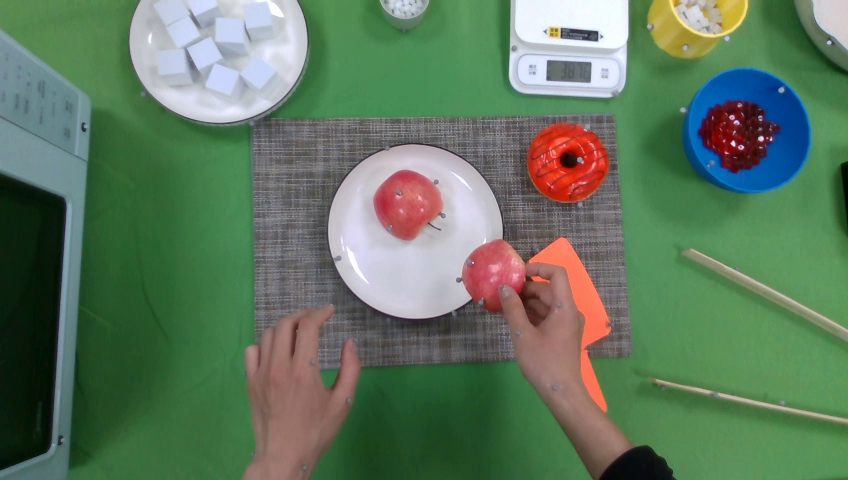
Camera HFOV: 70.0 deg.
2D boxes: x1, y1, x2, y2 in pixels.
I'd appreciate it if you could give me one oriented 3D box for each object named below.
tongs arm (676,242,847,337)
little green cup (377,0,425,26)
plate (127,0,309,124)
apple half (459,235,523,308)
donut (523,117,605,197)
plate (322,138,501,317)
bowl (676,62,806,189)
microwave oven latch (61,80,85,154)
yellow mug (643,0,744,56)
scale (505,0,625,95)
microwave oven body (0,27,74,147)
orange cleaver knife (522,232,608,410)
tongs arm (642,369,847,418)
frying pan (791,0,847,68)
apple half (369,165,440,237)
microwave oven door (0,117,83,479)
[{"bbox_3d":[0.483,0.101,0.748,0.388,0.028,0.028,29,75,-1],"label":"tongs arm"},{"bbox_3d":[-0.029,-0.296,0.747,0.061,0.038,0.061,0,84,-4],"label":"little green cup"},{"bbox_3d":[-0.241,-0.236,0.725,0.208,0.039,0.207,1,84,-4],"label":"plate"},{"bbox_3d":[0.065,0.032,0.646,0.033,0.081,0.081,-4,82,-47],"label":"apple half"},{"bbox_3d":[0.168,-0.101,0.735,0.099,0.048,0.099,0,85,-2],"label":"donut"},{"bbox_3d":[-0.014,-0.014,0.715,0.209,0.038,0.208,0,84,-4],"label":"plate"},{"bbox_3d":[0.370,-0.130,0.740,0.151,0.077,0.151,0,85,-4],"label":"bowl"},{"bbox_3d":[-0.403,-0.138,0.684,0.030,0.029,0.079,2,85,-4],"label":"microwave oven latch"},{"bbox_3d":[0.327,-0.305,0.761,0.100,0.064,0.130,-35,87,-6],"label":"yellow mug"},{"bbox_3d":[0.179,-0.287,0.765,0.149,0.031,0.200,2,84,-3],"label":"scale"},{"bbox_3d":[-0.545,0.024,0.559,0.326,0.260,0.440,1,84,-5],"label":"microwave oven body"},{"bbox_3d":[0.182,0.095,0.728,0.077,0.012,0.211,-20,85,-11],"label":"orange cleaver knife"},{"bbox_3d":[0.455,0.182,0.735,0.385,0.026,0.050,14,80,-3],"label":"tongs arm"},{"bbox_3d":[0.655,-0.251,0.760,0.307,0.103,0.485,-29,79,-6],"label":"frying pan"},{"bbox_3d":[-0.023,-0.050,0.702,0.081,0.053,0.074,-39,85,-7],"label":"apple half"},{"bbox_3d":[-0.399,0.068,0.560,0.039,0.244,0.355,0,84,-4],"label":"microwave oven door"}]
